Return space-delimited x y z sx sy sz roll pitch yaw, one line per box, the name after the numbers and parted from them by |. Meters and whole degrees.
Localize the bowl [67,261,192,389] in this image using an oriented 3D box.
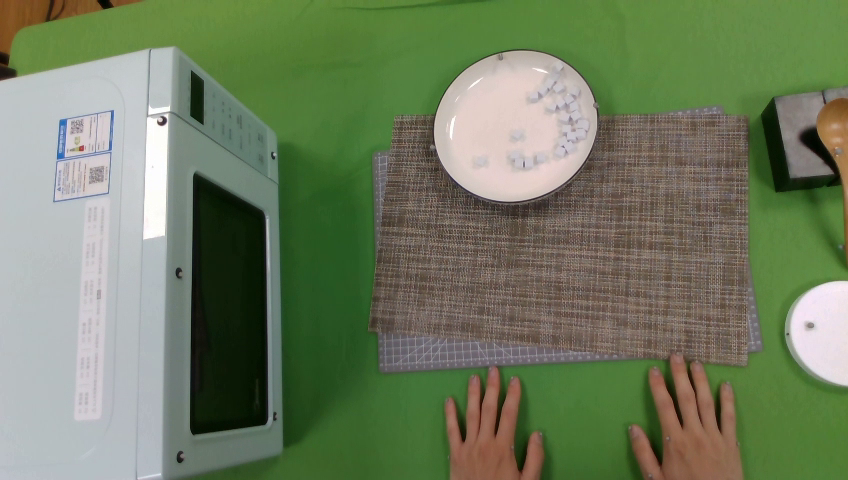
-0.342 0.106 0.740 0.151 0.077 0.150 -3 77 11 | bowl

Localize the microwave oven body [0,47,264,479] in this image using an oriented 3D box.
-0.377 0.052 0.727 0.325 0.262 0.439 -8 77 10 | microwave oven body

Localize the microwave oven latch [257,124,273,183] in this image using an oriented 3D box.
-0.226 -0.117 0.831 0.030 0.030 0.079 -8 77 10 | microwave oven latch

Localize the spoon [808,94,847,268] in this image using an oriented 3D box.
0.451 -0.061 0.659 0.041 0.021 0.194 -12 98 8 | spoon

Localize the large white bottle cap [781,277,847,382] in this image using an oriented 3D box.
0.456 0.098 0.662 0.114 0.018 0.114 -2 78 11 | large white bottle cap

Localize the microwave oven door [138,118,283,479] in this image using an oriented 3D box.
-0.233 0.073 0.685 0.039 0.245 0.354 -8 76 11 | microwave oven door

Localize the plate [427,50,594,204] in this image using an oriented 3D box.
0.110 -0.141 0.776 0.209 0.038 0.208 -3 76 12 | plate
